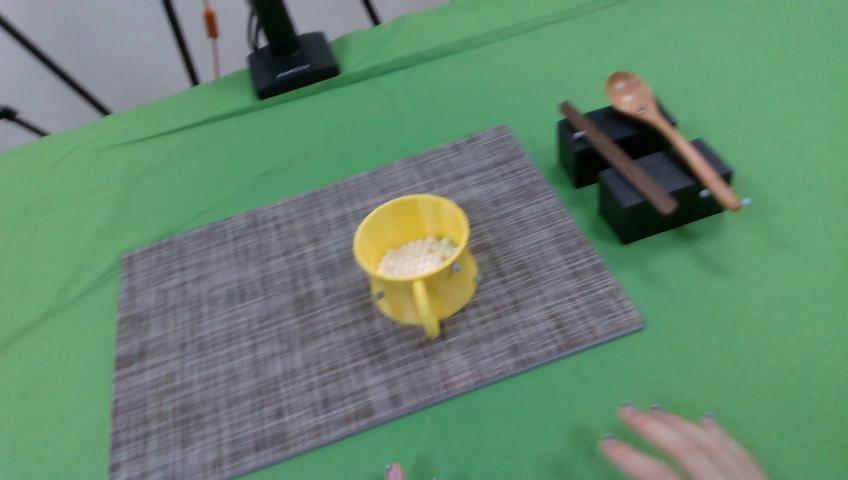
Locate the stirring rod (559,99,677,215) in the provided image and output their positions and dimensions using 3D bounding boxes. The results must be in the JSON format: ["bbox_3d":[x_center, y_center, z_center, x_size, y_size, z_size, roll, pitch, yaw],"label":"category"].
[{"bbox_3d":[0.170,-0.081,0.549,0.014,0.006,0.174,-49,44,21],"label":"stirring rod"}]

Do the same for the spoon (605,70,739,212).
[{"bbox_3d":[0.220,-0.094,0.546,0.041,0.022,0.191,-18,49,-5],"label":"spoon"}]

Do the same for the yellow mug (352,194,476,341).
[{"bbox_3d":[-0.005,0.028,0.523,0.100,0.064,0.129,-14,48,2],"label":"yellow mug"}]
